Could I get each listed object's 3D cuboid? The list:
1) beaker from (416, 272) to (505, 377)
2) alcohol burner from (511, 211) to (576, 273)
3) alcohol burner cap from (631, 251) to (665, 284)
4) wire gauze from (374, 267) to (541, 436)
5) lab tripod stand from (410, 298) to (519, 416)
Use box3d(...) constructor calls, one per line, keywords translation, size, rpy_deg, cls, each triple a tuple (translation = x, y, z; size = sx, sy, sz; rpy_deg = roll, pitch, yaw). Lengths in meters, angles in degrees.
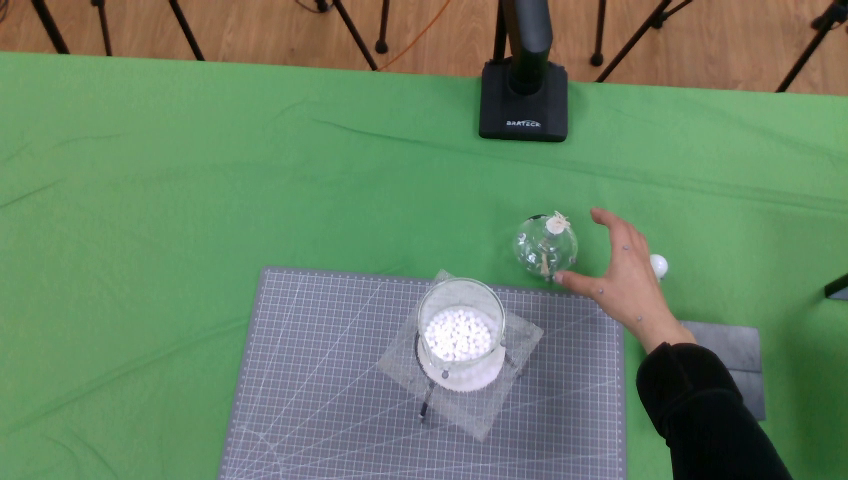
box3d(translation=(0.029, 0.083, 0.546), size=(0.074, 0.101, 0.083), rpy_deg=(28, 71, 11), cls="beaker")
box3d(translation=(0.143, -0.004, 0.714), size=(0.078, 0.120, 0.077), rpy_deg=(0, 69, -1), cls="alcohol burner")
box3d(translation=(0.274, 0.031, 0.736), size=(0.034, 0.048, 0.033), rpy_deg=(-1, 68, 2), cls="alcohol burner cap")
box3d(translation=(0.034, 0.104, 0.591), size=(0.124, 0.011, 0.121), rpy_deg=(32, 74, 10), cls="wire gauze")
box3d(translation=(0.038, 0.122, 0.654), size=(0.148, 0.132, 0.147), rpy_deg=(0, 67, 0), cls="lab tripod stand")
